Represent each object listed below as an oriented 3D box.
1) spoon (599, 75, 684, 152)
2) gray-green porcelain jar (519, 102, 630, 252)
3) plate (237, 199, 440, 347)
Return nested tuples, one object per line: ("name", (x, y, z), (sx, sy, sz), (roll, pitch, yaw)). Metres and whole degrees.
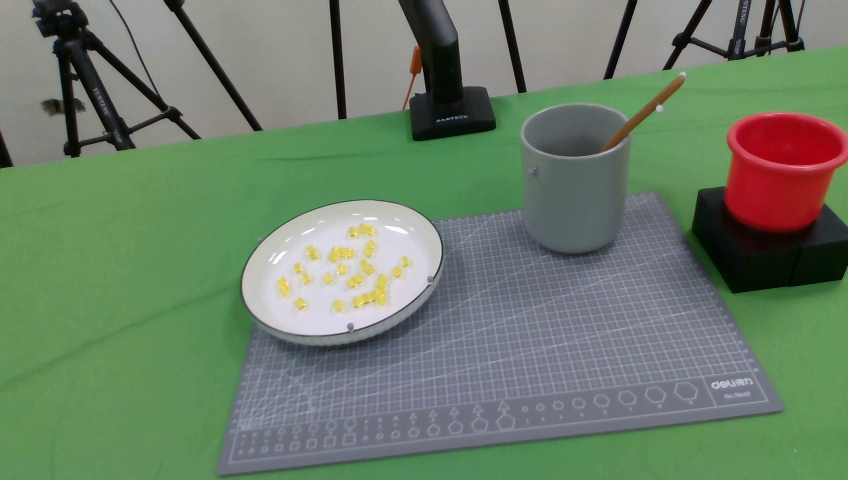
("spoon", (0.174, -0.084, 0.575), (0.021, 0.194, 0.041), (45, 49, 12))
("gray-green porcelain jar", (0.152, -0.059, 0.618), (0.106, 0.128, 0.105), (-6, 40, 5))
("plate", (-0.085, 0.033, 0.625), (0.207, 0.039, 0.205), (-5, 40, 5))
